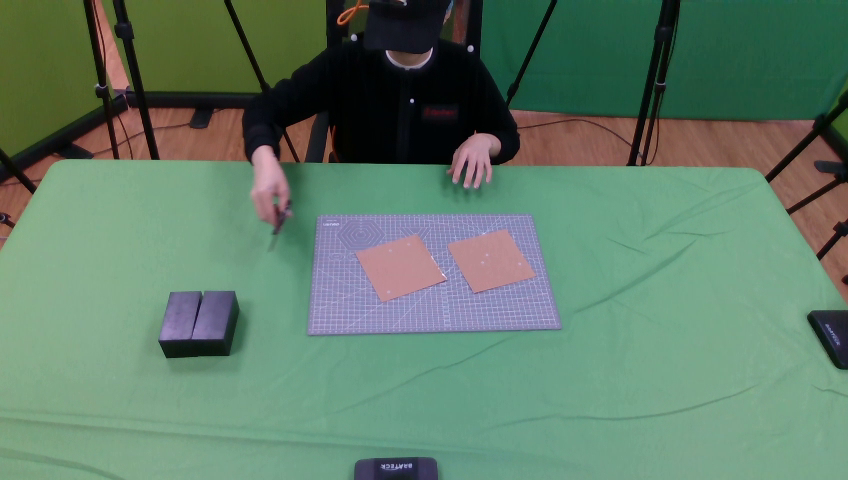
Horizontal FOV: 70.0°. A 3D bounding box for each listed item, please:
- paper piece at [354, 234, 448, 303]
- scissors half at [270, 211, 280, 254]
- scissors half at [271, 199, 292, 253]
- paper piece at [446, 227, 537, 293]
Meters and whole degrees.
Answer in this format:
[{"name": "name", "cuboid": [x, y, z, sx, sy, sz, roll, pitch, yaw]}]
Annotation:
[{"name": "paper piece", "cuboid": [-0.045, 0.049, 1.153, 0.138, 0.009, 0.135, -17, 46, -18]}, {"name": "scissors half", "cuboid": [-0.269, -0.011, 1.096, 0.013, 0.040, 0.174, 23, 15, -17]}, {"name": "scissors half", "cuboid": [-0.258, -0.026, 1.089, 0.013, 0.040, 0.174, 29, 29, -19]}, {"name": "paper piece", "cuboid": [0.130, 0.037, 1.177, 0.136, 0.004, 0.134, -14, 49, -16]}]
